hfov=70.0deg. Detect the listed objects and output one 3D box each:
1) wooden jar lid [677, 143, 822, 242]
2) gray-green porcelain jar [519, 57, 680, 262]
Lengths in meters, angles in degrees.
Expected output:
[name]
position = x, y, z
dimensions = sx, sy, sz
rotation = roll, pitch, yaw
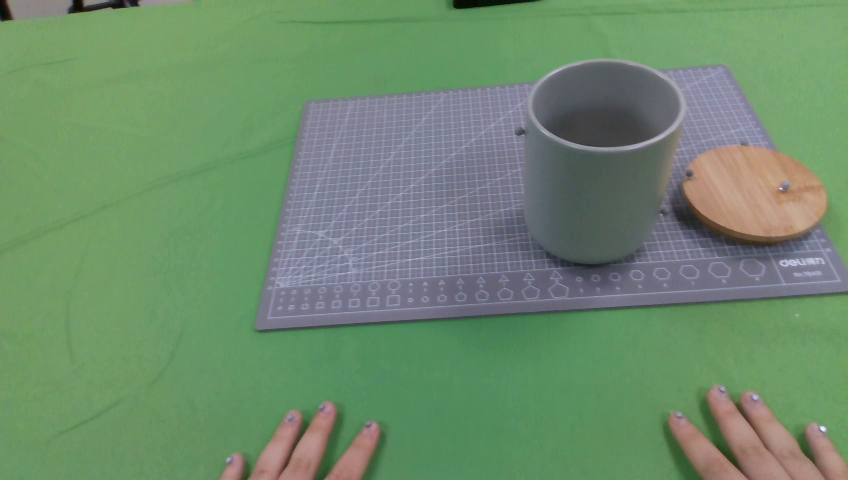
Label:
[wooden jar lid]
position = 0.264, -0.038, 0.498
dimensions = 0.108, 0.021, 0.107
rotation = -4, 47, 5
[gray-green porcelain jar]
position = 0.125, -0.054, 0.457
dimensions = 0.106, 0.128, 0.105
rotation = -4, 49, 5
